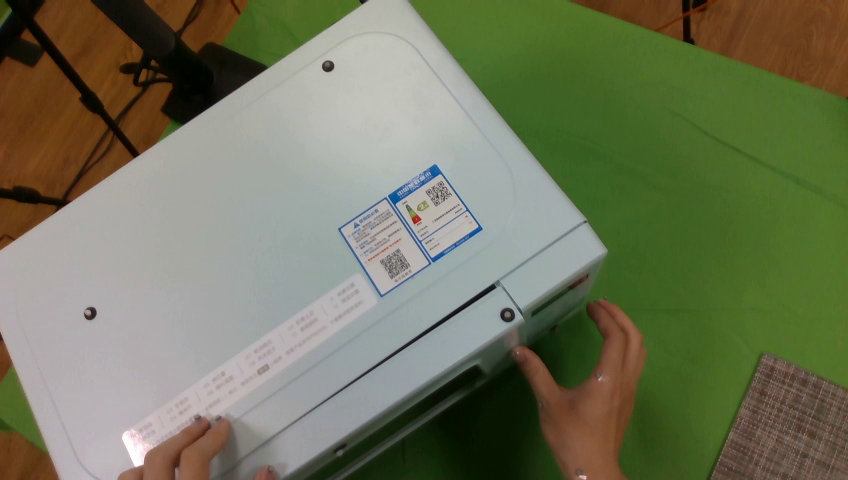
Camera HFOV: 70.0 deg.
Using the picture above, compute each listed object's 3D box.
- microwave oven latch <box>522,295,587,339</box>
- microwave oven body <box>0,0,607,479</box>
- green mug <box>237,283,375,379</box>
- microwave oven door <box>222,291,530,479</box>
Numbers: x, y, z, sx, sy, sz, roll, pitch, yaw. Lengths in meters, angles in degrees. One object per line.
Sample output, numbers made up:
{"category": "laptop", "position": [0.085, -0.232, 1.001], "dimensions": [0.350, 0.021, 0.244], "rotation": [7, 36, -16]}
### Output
{"category": "microwave oven latch", "position": [0.134, 0.073, 0.643], "dimensions": [0.079, 0.030, 0.030], "rotation": [-33, 72, 0]}
{"category": "microwave oven body", "position": [-0.109, 0.033, 0.594], "dimensions": [0.442, 0.262, 0.323], "rotation": [-35, 72, 0]}
{"category": "green mug", "position": [-0.109, 0.094, 0.597], "dimensions": [0.125, 0.105, 0.092], "rotation": [14, 79, 15]}
{"category": "microwave oven door", "position": [-0.063, 0.172, 0.543], "dimensions": [0.356, 0.245, 0.039], "rotation": [-34, 71, -1]}
